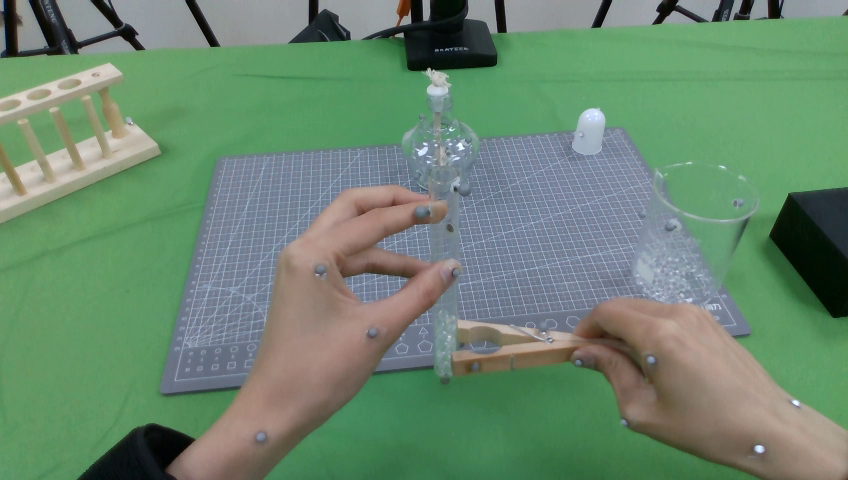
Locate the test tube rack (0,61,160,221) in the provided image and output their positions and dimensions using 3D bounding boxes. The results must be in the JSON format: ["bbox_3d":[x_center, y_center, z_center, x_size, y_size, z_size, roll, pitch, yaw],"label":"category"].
[{"bbox_3d":[-0.399,-0.085,0.591,0.242,0.086,0.066,-33,52,-29],"label":"test tube rack"}]

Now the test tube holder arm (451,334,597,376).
[{"bbox_3d":[0.060,0.067,0.365,0.088,0.015,0.010,-9,43,-7],"label":"test tube holder arm"}]

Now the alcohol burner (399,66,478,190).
[{"bbox_3d":[0.013,-0.109,0.583,0.078,0.120,0.077,-2,42,2],"label":"alcohol burner"}]

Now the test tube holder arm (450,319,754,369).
[{"bbox_3d":[0.105,0.063,0.367,0.178,0.015,0.013,3,45,6],"label":"test tube holder arm"}]

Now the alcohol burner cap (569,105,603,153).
[{"bbox_3d":[0.173,-0.121,0.644,0.034,0.048,0.033,0,43,1],"label":"alcohol burner cap"}]

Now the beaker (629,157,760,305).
[{"bbox_3d":[0.204,-0.005,0.480,0.074,0.101,0.083,-26,48,-24],"label":"beaker"}]

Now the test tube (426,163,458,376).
[{"bbox_3d":[0.010,0.024,0.334,0.017,0.151,0.017,-1,39,1],"label":"test tube"}]
